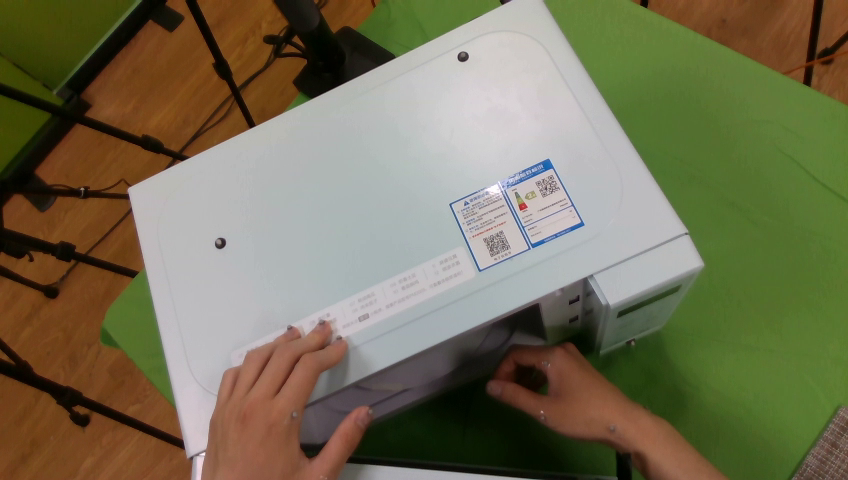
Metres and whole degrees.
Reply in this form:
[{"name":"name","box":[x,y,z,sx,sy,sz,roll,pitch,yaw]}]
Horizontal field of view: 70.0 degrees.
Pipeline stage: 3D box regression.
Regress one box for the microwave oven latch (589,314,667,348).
[{"name":"microwave oven latch","box":[0.221,0.090,0.659,0.079,0.030,0.030,-23,68,5]}]

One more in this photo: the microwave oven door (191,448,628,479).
[{"name":"microwave oven door","box":[0.010,0.220,0.553,0.355,0.246,0.039,0,70,13]}]

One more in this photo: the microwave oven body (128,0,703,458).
[{"name":"microwave oven body","box":[-0.015,0.009,0.637,0.442,0.262,0.323,-25,68,4]}]
